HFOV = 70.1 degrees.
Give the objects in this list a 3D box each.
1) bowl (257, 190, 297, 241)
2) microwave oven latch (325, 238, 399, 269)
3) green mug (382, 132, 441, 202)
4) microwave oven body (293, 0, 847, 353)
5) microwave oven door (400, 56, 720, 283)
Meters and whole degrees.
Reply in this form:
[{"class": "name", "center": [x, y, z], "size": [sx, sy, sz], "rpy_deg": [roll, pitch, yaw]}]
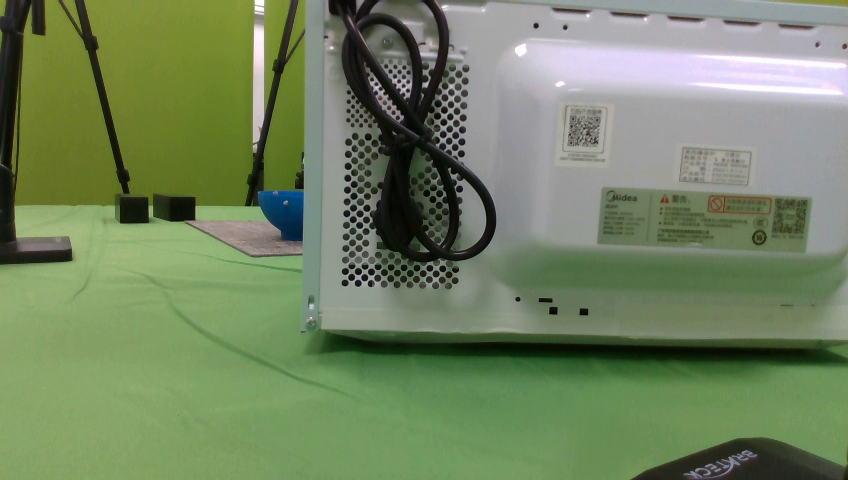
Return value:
[{"class": "bowl", "center": [-0.206, -0.041, 1.026], "size": [0.151, 0.077, 0.151], "rpy_deg": [2, 8, 0]}, {"class": "microwave oven latch", "center": [-0.070, 0.015, 0.691], "size": [0.079, 0.029, 0.030], "rpy_deg": [4, 7, 3]}, {"class": "green mug", "center": [-0.022, -0.114, 0.969], "size": [0.093, 0.105, 0.125], "rpy_deg": [0, 3, -6]}, {"class": "microwave oven body", "center": [0.122, -0.055, 0.549], "size": [0.442, 0.260, 0.325], "rpy_deg": [3, 7, -5]}, {"class": "microwave oven door", "center": [0.155, -0.077, 0.698], "size": [0.356, 0.243, 0.039], "rpy_deg": [2, 8, -5]}]
